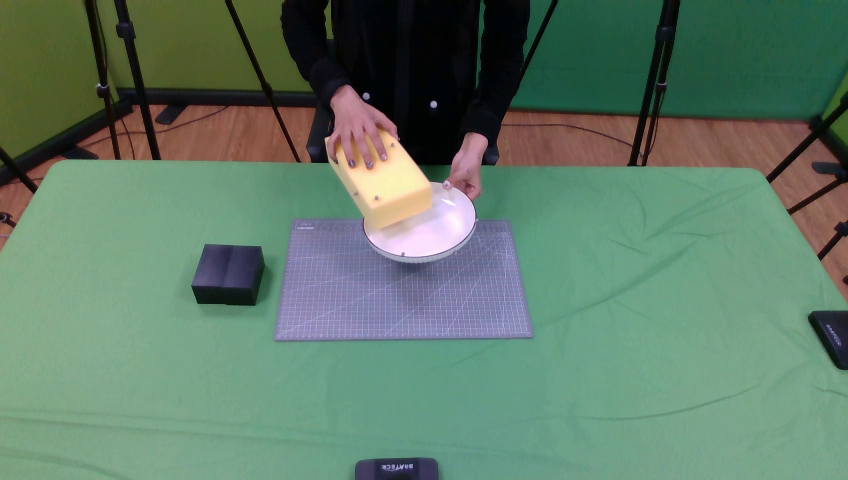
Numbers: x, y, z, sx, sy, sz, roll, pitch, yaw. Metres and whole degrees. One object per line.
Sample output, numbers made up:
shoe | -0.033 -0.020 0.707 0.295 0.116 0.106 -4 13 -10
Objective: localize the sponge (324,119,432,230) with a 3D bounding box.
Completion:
sponge | -0.086 -0.124 1.108 0.118 0.061 0.205 -24 55 -17

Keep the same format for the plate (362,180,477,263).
plate | -0.007 -0.031 1.104 0.209 0.038 0.208 -4 45 4
